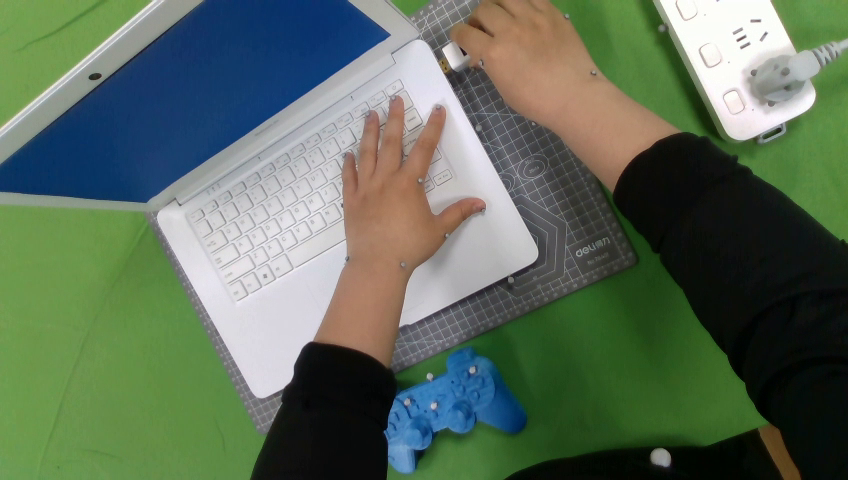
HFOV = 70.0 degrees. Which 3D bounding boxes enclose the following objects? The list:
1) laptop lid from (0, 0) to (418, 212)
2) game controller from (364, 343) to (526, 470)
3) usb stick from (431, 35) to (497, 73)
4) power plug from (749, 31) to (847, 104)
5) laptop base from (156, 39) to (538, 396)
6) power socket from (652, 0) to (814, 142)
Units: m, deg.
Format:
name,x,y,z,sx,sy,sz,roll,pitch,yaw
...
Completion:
name,x,y,z,sx,sy,sz,roll,pitch,yaw
laptop lid,-0.190,-0.112,0.503,0.356,0.242,0.013,-29,81,19
game controller,0.013,0.167,0.598,0.155,0.052,0.097,-27,85,18
usb stick,0.034,-0.166,0.547,0.059,0.027,0.021,-14,96,2
power plug,0.287,-0.129,0.460,0.072,0.052,0.035,-16,93,14
laptop base,-0.092,-0.008,0.615,0.354,0.023,0.235,-29,93,18
power socket,0.233,-0.184,0.487,0.072,0.032,0.226,-26,90,19
